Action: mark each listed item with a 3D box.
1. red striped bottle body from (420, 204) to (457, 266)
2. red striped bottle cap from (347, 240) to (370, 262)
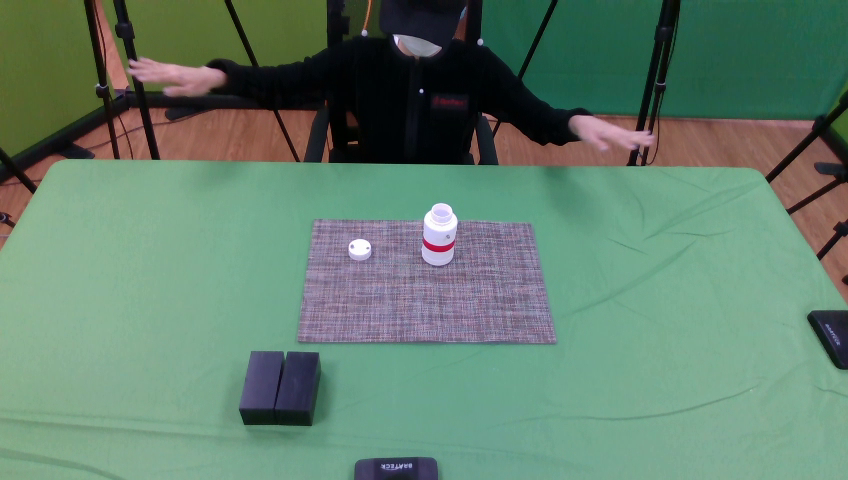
[{"bbox_3d":[0.027,-0.012,1.138,0.063,0.120,0.062,3,45,-3],"label":"red striped bottle body"},{"bbox_3d":[-0.127,0.020,1.169,0.044,0.018,0.044,2,49,-3],"label":"red striped bottle cap"}]
